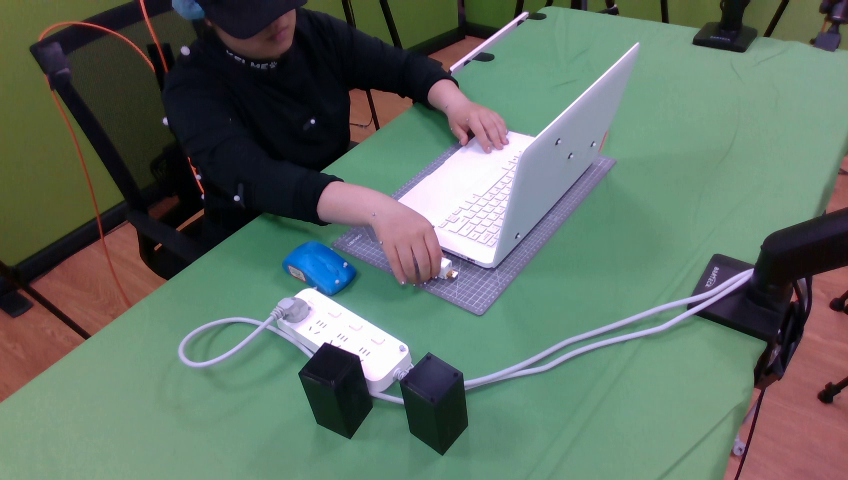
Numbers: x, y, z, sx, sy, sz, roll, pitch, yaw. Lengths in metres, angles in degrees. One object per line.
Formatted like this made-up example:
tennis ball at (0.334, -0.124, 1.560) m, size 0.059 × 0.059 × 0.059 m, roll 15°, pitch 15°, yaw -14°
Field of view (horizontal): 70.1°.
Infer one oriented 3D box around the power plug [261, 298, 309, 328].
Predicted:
power plug at (-0.192, 0.107, 0.831) m, size 0.073 × 0.053 × 0.035 m, roll -32°, pitch 43°, yaw -25°

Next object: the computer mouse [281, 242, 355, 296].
computer mouse at (-0.164, 0.041, 0.934) m, size 0.116 × 0.041 × 0.063 m, roll 26°, pitch 49°, yaw 29°

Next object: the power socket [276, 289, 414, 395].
power socket at (-0.114, 0.133, 0.820) m, size 0.225 × 0.033 × 0.072 m, roll 25°, pitch 49°, yaw 33°

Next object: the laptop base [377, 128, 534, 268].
laptop base at (0.116, -0.088, 1.059) m, size 0.233 × 0.023 × 0.355 m, roll 20°, pitch 47°, yaw 33°

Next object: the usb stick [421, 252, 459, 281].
usb stick at (0.025, 0.041, 0.909) m, size 0.059 × 0.027 × 0.021 m, roll 26°, pitch 53°, yaw 24°

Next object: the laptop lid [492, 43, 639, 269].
laptop lid at (0.217, -0.129, 0.911) m, size 0.013 × 0.242 × 0.358 m, roll 32°, pitch 51°, yaw 21°
